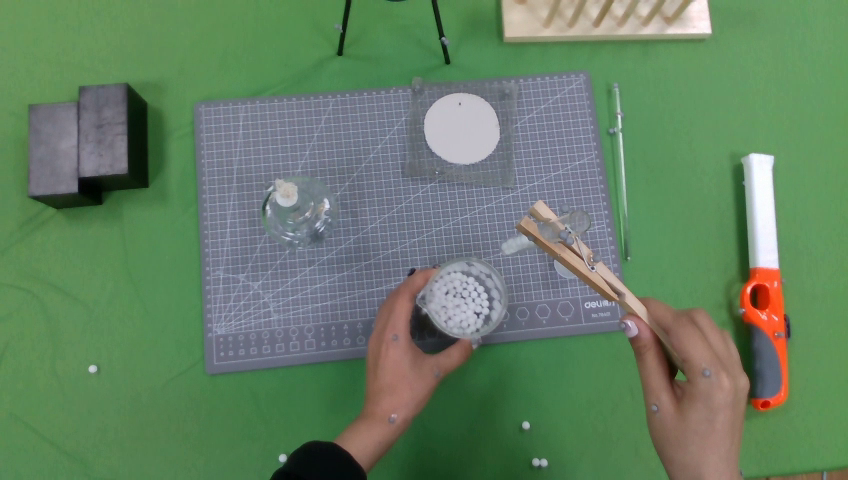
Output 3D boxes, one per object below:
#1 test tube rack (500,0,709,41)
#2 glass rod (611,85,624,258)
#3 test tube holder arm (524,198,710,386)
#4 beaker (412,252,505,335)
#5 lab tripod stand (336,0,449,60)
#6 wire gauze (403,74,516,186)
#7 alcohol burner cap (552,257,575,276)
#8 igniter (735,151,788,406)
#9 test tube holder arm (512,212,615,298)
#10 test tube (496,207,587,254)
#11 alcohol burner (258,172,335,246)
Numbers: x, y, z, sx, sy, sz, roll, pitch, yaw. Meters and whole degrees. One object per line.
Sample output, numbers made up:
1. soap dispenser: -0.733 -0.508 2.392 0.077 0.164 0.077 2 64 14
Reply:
1. test tube rack: 0.212 -0.277 0.678 0.242 0.085 0.066 -2 79 -2
2. glass rod: 0.218 -0.079 0.682 0.008 0.008 0.199 0 82 -2
3. test tube holder arm: 0.137 0.037 0.428 0.178 0.015 0.013 44 81 -2
4. beaker: 0.030 0.056 0.589 0.084 0.100 0.073 -4 81 -2
5. lab tripod stand: -0.033 -0.258 0.641 0.148 0.132 0.148 0 82 -2
6. wire gauze: 0.041 -0.126 0.682 0.125 0.011 0.121 6 81 -2
7. alcohol burner cap: 0.157 0.018 0.643 0.034 0.048 0.033 0 79 -2
8. igniter: 0.364 0.038 0.658 0.057 0.025 0.275 4 80 -11
9. test tube holder arm: 0.100 0.011 0.425 0.088 0.015 0.010 37 81 -3
10. test tube: 0.081 -0.004 0.446 0.017 0.150 0.017 1 83 -10
11. alcohol burner: -0.130 -0.035 0.605 0.078 0.119 0.077 0 79 0
